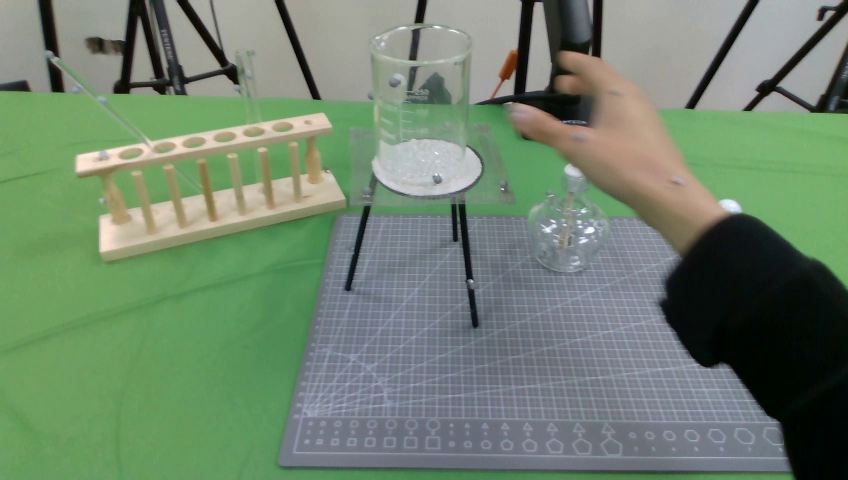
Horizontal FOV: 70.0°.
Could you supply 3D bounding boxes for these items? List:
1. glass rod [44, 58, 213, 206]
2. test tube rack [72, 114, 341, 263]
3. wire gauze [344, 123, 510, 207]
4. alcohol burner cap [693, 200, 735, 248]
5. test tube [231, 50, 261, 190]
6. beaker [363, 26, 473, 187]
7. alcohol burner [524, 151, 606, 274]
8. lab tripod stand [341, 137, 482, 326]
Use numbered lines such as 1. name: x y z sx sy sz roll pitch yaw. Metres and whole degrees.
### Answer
1. glass rod: -0.272 -0.093 0.576 0.008 0.202 0.008 -18 46 20
2. test tube rack: -0.213 -0.057 0.621 0.243 0.086 0.066 -14 41 -19
3. wire gauze: -0.003 -0.060 0.483 0.125 0.011 0.120 -5 37 -2
4. alcohol burner cap: 0.297 -0.019 0.616 0.034 0.048 0.033 1 39 0
5. test tube: -0.178 -0.117 0.618 0.017 0.151 0.017 2 36 -1
6. beaker: -0.008 -0.098 0.451 0.083 0.101 0.074 21 42 25
7. alcohol burner: 0.133 -0.028 0.566 0.078 0.120 0.077 0 37 1
8. lab tripod stand: -0.003 -0.010 0.524 0.148 0.132 0.147 0 41 0
